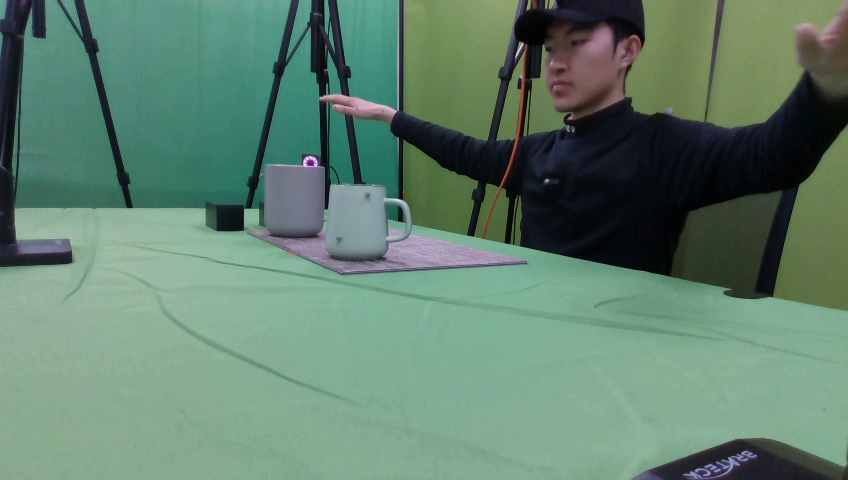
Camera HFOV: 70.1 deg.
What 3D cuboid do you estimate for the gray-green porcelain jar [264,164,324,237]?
[{"bbox_3d":[-0.233,-0.072,1.088,0.106,0.126,0.106,2,7,0],"label":"gray-green porcelain jar"}]

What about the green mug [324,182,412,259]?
[{"bbox_3d":[-0.079,-0.028,0.864,0.125,0.105,0.092,3,7,9],"label":"green mug"}]
